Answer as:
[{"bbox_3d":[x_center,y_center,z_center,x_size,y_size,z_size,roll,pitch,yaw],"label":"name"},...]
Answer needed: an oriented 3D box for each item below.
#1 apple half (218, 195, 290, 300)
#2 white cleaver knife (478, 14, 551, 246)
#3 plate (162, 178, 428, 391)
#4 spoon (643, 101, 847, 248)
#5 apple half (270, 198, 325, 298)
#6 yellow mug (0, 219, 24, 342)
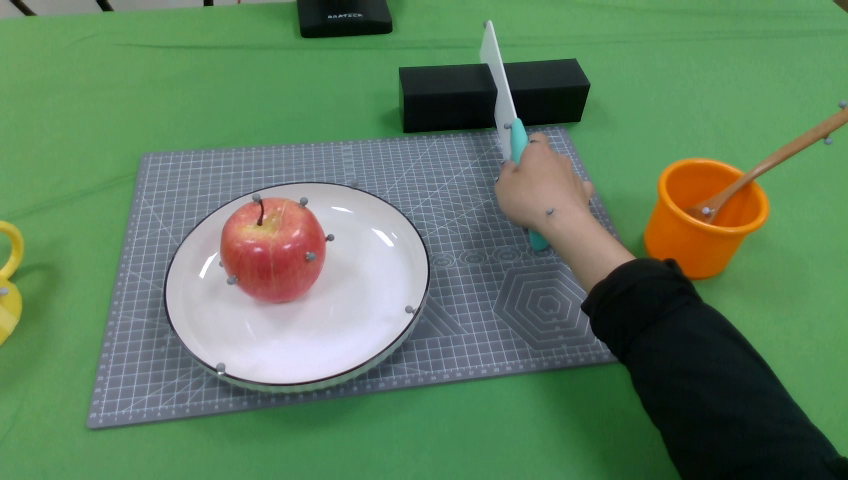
[{"bbox_3d":[-0.134,0.006,0.483,0.053,0.075,0.080,2,52,4],"label":"apple half"},{"bbox_3d":[0.086,-0.117,0.616,0.021,0.066,0.283,-5,60,-4],"label":"white cleaver knife"},{"bbox_3d":[-0.101,0.033,0.497,0.209,0.038,0.207,2,49,-2],"label":"plate"},{"bbox_3d":[0.278,-0.054,0.525,0.022,0.194,0.041,28,31,-39],"label":"spoon"},{"bbox_3d":[-0.095,0.008,0.483,0.033,0.082,0.080,0,49,4],"label":"apple half"},{"bbox_3d":[-0.367,0.033,0.466,0.099,0.064,0.130,21,50,15],"label":"yellow mug"}]
